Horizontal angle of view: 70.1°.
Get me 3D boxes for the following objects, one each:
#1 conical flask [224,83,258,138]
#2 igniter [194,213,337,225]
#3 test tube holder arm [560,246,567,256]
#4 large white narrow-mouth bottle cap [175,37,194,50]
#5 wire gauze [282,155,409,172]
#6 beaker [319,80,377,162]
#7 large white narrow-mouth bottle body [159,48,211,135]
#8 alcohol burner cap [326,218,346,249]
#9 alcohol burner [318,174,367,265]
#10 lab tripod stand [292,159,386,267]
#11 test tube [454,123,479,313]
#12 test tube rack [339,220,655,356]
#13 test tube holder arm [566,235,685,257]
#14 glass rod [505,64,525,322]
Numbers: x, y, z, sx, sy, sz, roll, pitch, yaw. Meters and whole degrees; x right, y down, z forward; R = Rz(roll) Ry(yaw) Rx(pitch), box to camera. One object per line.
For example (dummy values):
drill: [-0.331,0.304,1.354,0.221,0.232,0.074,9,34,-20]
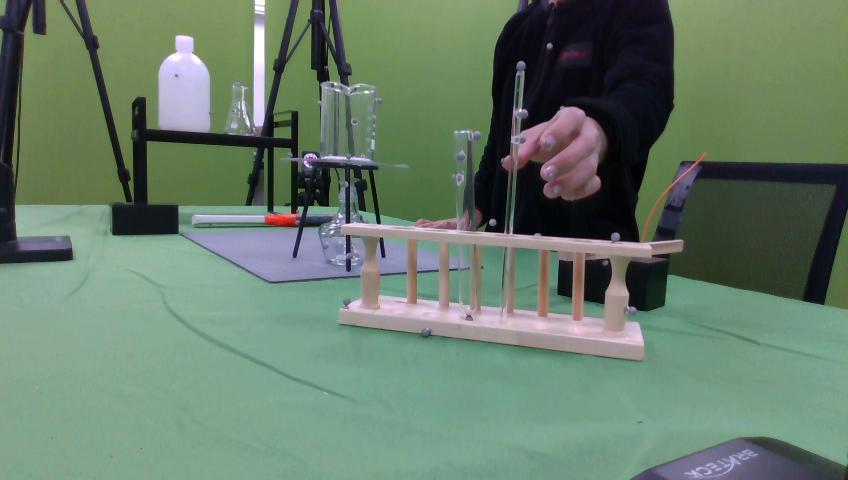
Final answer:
conical flask: [-0.422,-0.299,1.395,0.075,0.122,0.075,2,7,0]
igniter: [-0.306,-0.042,1.196,0.278,0.025,0.057,-2,-2,-31]
test tube holder arm: [0.173,0.007,0.612,0.088,0.015,0.010,-3,9,-30]
large white narrow-mouth bottle cap: [-0.501,-0.409,1.264,0.038,0.024,0.037,2,7,0]
wire gauze: [-0.104,-0.102,0.784,0.126,0.011,0.121,1,8,-39]
beaker: [-0.098,-0.150,0.777,0.074,0.100,0.084,1,7,-7]
large white narrow-mouth bottle body: [-0.503,-0.322,1.275,0.102,0.194,0.102,2,7,0]
alcohol burner cap: [-0.133,-0.010,0.927,0.034,0.048,0.034,6,7,0]
alcohol burner: [-0.100,-0.028,0.790,0.078,0.119,0.078,0,6,0]
lab tripod stand: [-0.105,-0.039,0.798,0.148,0.131,0.148,2,5,0]
test tube: [0.034,-0.016,0.477,0.017,0.150,0.017,-2,9,1]
test tube rack: [0.056,0.032,0.495,0.242,0.085,0.067,4,8,15]
test tube holder arm: [0.215,0.006,0.630,0.179,0.015,0.013,-3,9,-31]
glass rod: [0.069,-0.029,0.456,0.008,0.199,0.008,1,14,0]
